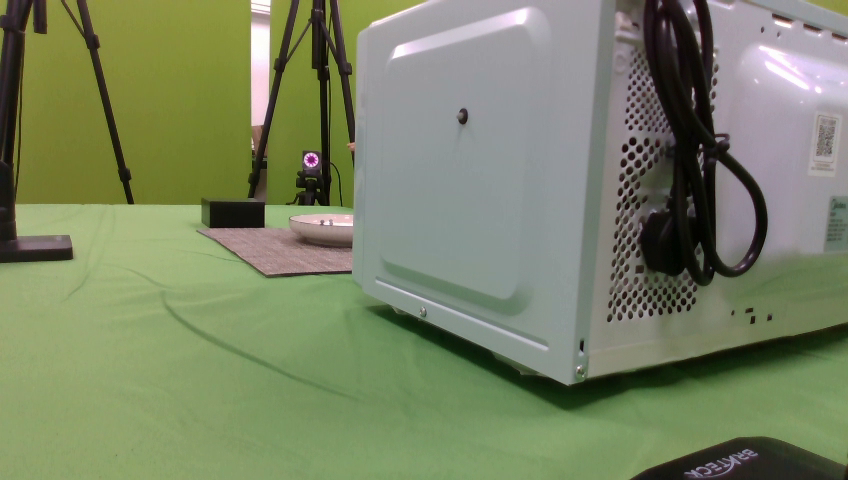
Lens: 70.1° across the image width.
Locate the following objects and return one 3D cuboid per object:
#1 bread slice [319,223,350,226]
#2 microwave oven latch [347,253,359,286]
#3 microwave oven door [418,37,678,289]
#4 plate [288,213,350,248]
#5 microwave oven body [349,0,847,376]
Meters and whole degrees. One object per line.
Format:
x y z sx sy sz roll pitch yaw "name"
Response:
-0.122 -0.015 1.004 0.131 0.019 0.105 4 7 12 "bread slice"
-0.034 0.028 0.581 0.079 0.029 0.030 -1 7 -31 "microwave oven latch"
0.159 -0.079 0.684 0.358 0.243 0.039 -2 9 -32 "microwave oven door"
-0.122 -0.017 1.008 0.209 0.038 0.209 3 8 0 "plate"
0.199 -0.053 0.539 0.444 0.260 0.324 -1 8 -32 "microwave oven body"
